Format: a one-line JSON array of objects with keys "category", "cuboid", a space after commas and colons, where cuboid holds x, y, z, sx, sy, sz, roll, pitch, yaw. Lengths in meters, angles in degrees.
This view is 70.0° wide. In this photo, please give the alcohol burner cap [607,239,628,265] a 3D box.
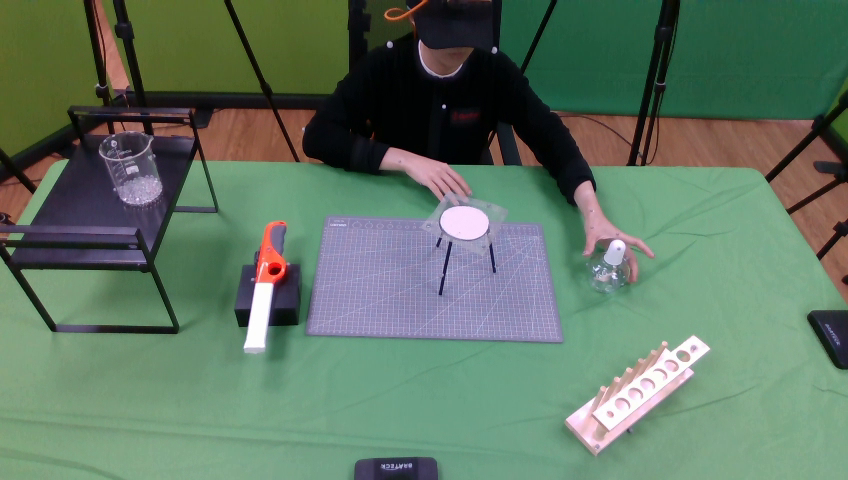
[{"category": "alcohol burner cap", "cuboid": [0.351, 0.019, 1.091, 0.034, 0.048, 0.033, 1, 46, -1]}]

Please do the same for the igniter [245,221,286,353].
[{"category": "igniter", "cuboid": [-0.270, 0.070, 1.040, 0.057, 0.025, 0.274, 2, 48, -6]}]

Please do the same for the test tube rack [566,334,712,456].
[{"category": "test tube rack", "cuboid": [0.339, 0.228, 0.950, 0.242, 0.085, 0.066, -26, 52, -26]}]

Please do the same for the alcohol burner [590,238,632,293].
[{"category": "alcohol burner", "cuboid": [0.348, 0.040, 1.114, 0.078, 0.119, 0.077, 3, 44, -2]}]

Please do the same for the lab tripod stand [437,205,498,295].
[{"category": "lab tripod stand", "cuboid": [0.066, 0.010, 1.107, 0.148, 0.132, 0.147, 0, 46, 0]}]

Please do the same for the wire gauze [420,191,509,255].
[{"category": "wire gauze", "cuboid": [0.072, -0.035, 1.058, 0.125, 0.011, 0.121, 21, 48, 18]}]

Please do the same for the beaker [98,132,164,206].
[{"category": "beaker", "cuboid": [-0.460, -0.112, 0.968, 0.073, 0.101, 0.084, 37, 54, 28]}]
